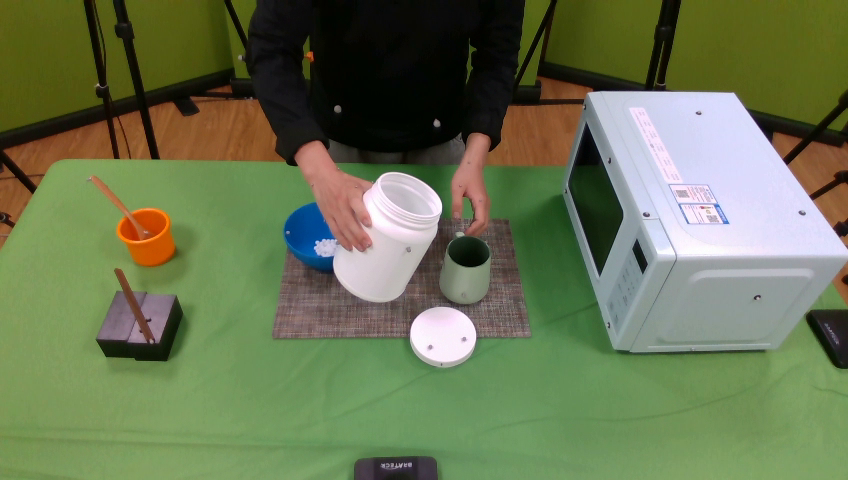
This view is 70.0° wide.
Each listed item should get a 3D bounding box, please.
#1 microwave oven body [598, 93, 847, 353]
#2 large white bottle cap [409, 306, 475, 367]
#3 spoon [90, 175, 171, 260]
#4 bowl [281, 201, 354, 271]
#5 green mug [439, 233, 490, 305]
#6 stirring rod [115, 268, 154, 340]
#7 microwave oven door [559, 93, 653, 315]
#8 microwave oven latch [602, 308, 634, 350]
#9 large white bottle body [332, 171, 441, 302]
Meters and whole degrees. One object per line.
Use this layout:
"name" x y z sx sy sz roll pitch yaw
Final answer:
"microwave oven body" 0.475 -0.041 1.109 0.326 0.261 0.438 -1 45 -4
"large white bottle cap" 0.031 0.164 1.040 0.115 0.018 0.114 3 50 -3
"spoon" -0.539 -0.042 1.111 0.041 0.194 0.021 -45 19 -32
"bowl" -0.187 0.005 1.137 0.151 0.077 0.150 3 46 -3
"green mug" 0.072 0.045 1.102 0.092 0.105 0.124 -6 46 -9
"stirring rod" -0.479 0.103 0.999 0.014 0.006 0.175 7 32 -49
"microwave oven door" 0.327 -0.074 1.123 0.039 0.245 0.353 -1 46 -5
"microwave oven latch" 0.332 0.153 1.044 0.030 0.029 0.078 -1 45 -4
"large white bottle body" -0.059 -0.006 0.969 0.131 0.185 0.130 20 35 -14
